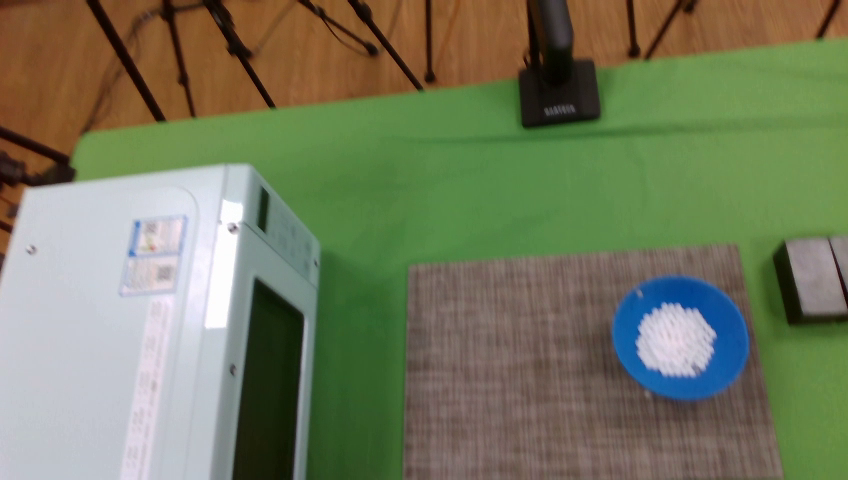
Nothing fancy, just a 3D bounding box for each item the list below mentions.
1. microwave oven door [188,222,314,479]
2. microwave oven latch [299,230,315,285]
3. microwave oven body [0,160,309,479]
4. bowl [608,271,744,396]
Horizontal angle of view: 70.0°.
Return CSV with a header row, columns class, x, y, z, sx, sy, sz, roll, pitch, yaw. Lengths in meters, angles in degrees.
class,x,y,z,sx,sy,sz,roll,pitch,yaw
microwave oven door,-0.193,0.187,0.708,0.039,0.246,0.353,-6,66,9
microwave oven latch,-0.176,0.026,0.885,0.030,0.030,0.078,-6,67,9
microwave oven body,-0.336,0.165,0.752,0.325,0.262,0.438,-6,67,9
bowl,0.300,0.121,0.741,0.151,0.077,0.150,-4,67,10
